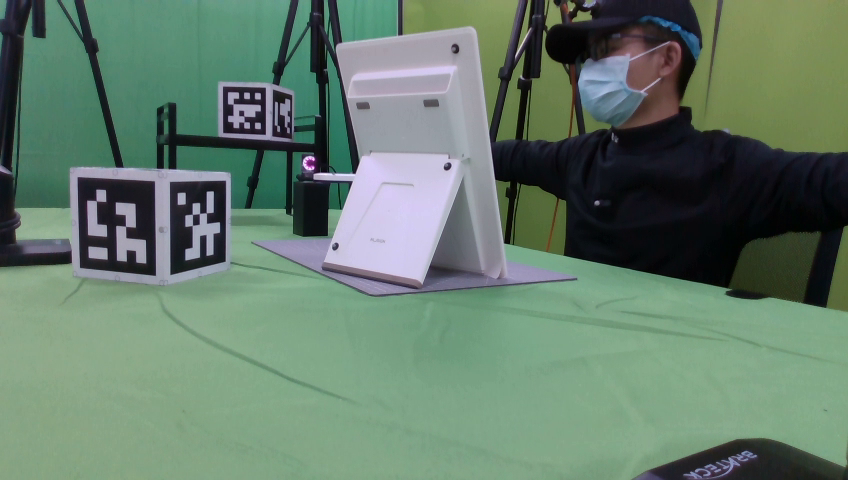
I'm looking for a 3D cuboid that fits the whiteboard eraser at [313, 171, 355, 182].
[{"bbox_3d":[-0.166,-0.122,1.165,0.102,0.019,0.041,-2,7,-34],"label":"whiteboard eraser"}]

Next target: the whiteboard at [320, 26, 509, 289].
[{"bbox_3d":[-0.046,-0.076,0.721,0.216,0.305,0.144,9,29,39],"label":"whiteboard"}]
